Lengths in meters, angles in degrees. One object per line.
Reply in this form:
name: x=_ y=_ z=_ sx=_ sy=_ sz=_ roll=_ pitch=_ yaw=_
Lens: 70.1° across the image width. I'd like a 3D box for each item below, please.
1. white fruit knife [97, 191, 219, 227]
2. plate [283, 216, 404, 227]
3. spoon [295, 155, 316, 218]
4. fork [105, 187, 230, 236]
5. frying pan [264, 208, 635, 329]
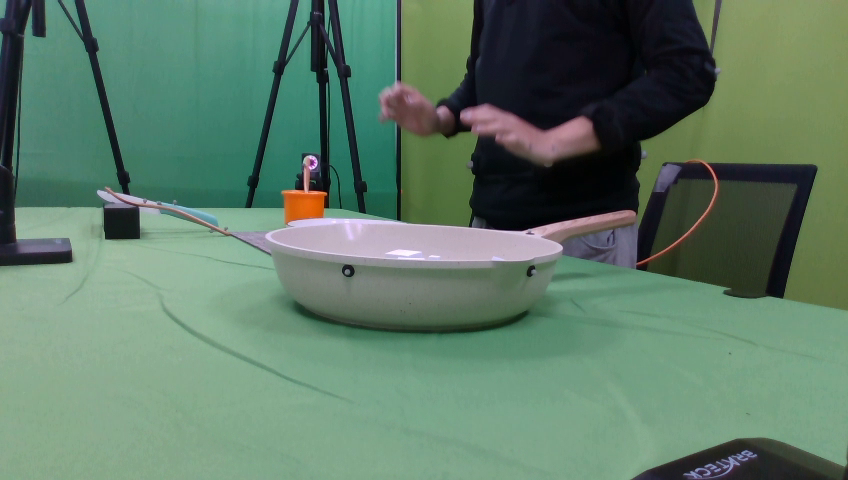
white fruit knife: x=-0.468 y=-0.056 z=1.079 sx=0.208 sy=0.027 sz=0.016 roll=15 pitch=-2 yaw=-29
plate: x=-0.119 y=-0.009 z=0.968 sx=0.208 sy=0.039 sz=0.207 roll=3 pitch=7 yaw=0
spoon: x=-0.247 y=-0.108 z=1.262 sx=0.042 sy=0.021 sz=0.193 roll=5 pitch=46 yaw=-16
fork: x=-0.428 y=-0.046 z=1.020 sx=0.208 sy=0.018 sz=0.028 roll=19 pitch=-8 yaw=-26
frying pan: x=0.075 y=0.007 z=0.666 sx=0.490 sy=0.102 sz=0.305 roll=-12 pitch=15 yaw=-33
